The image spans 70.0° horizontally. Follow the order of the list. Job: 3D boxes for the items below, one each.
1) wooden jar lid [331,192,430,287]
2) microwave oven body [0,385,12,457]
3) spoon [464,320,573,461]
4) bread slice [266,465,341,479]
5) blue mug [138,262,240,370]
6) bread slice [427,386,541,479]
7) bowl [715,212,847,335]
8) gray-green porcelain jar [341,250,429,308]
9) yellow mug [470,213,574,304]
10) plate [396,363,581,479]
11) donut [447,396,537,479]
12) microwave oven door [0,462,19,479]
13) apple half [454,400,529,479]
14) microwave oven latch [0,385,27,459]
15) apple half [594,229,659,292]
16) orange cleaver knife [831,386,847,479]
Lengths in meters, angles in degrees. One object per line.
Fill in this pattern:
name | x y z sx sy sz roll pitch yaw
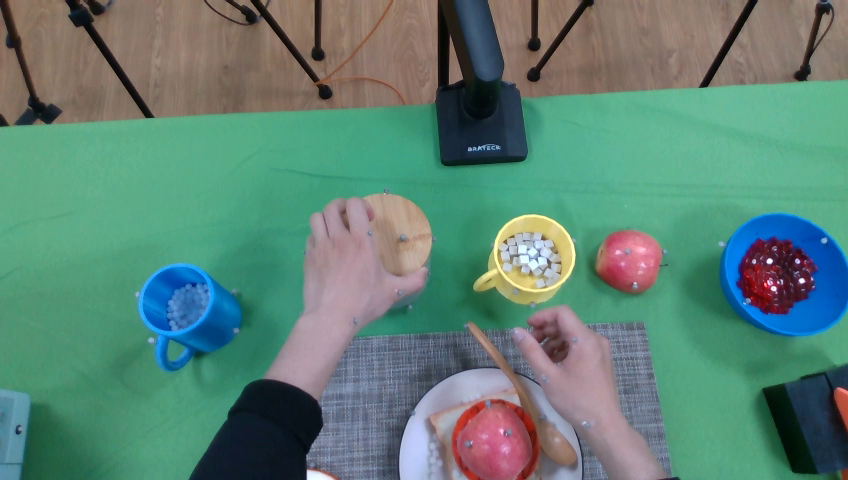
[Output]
wooden jar lid | -0.047 0.001 0.666 0.108 0.021 0.107 0 70 1
microwave oven body | -0.612 0.348 0.533 0.326 0.261 0.438 -3 72 -2
spoon | 0.106 0.171 0.699 0.042 0.021 0.193 -21 74 -49
bread slice | -0.143 0.320 0.676 0.105 0.019 0.130 4 72 0
blue mug | -0.277 0.095 0.707 0.082 0.106 0.116 17 72 5
bread slice | 0.077 0.245 0.693 0.107 0.018 0.133 -19 73 -6
bowl | 0.423 0.049 0.744 0.151 0.077 0.150 0 72 0
gray-green porcelain jar | -0.047 0.022 0.724 0.106 0.127 0.105 0 71 0
yellow mug | 0.116 0.031 0.754 0.131 0.064 0.099 -26 74 -8
plate | 0.072 0.247 0.691 0.208 0.039 0.206 0 71 0
donut | 0.075 0.222 0.669 0.099 0.048 0.098 0 71 0
microwave oven door | -0.464 0.379 0.518 0.039 0.245 0.353 -3 71 -1
apple half | 0.073 0.212 0.636 0.081 0.033 0.081 -1 76 6
microwave oven latch | -0.475 0.205 0.684 0.030 0.029 0.078 2 72 0
apple half | 0.259 0.020 0.766 0.074 0.054 0.080 18 72 8
orange cleaver knife | 0.490 0.267 0.668 0.012 0.077 0.211 -13 93 -11
